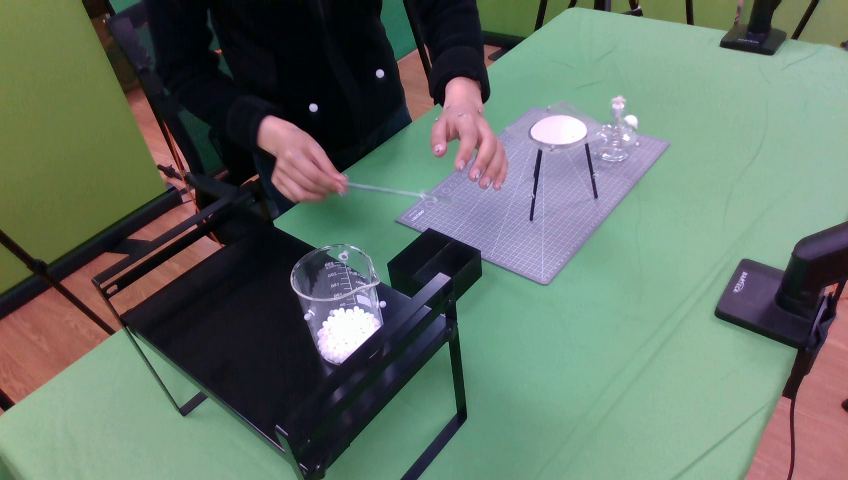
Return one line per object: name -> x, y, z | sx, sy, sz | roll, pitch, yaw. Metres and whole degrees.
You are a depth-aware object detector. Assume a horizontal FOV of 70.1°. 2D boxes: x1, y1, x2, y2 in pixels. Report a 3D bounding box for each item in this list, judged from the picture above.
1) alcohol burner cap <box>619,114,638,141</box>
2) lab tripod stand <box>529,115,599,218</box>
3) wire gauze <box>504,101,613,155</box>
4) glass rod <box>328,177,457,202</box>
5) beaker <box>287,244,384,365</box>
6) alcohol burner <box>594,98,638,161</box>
alcohol burner cap -> 0.389, -0.215, 1.145 | 0.034, 0.048, 0.033 | -4, 40, 4
lab tripod stand -> 0.217, -0.123, 0.995 | 0.148, 0.132, 0.147 | -4, 43, 4
wire gauze -> 0.211, -0.177, 0.955 | 0.125, 0.011, 0.120 | -24, 44, -18
glass rod -> -0.047, -0.069, 0.823 | 0.198, 0.008, 0.008 | 12, 44, 23
beaker -> -0.076, 0.065, 0.574 | 0.083, 0.101, 0.074 | 7, 44, 15
alcohol burner -> 0.345, -0.203, 1.084 | 0.078, 0.119, 0.077 | -5, 43, 5
